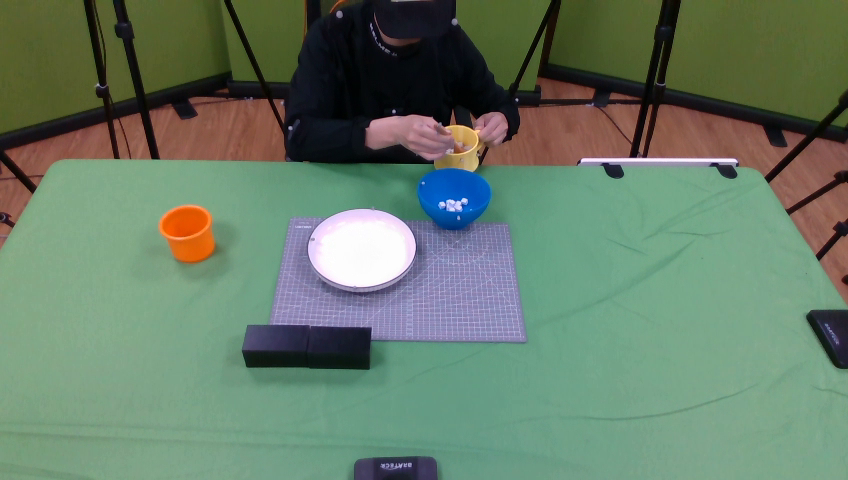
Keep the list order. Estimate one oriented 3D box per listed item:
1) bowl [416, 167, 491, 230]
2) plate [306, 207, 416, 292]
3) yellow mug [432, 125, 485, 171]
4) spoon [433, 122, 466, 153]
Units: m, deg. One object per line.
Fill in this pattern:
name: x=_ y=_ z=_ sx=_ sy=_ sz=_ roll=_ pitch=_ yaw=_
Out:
bowl: x=0.057 y=-0.074 z=1.232 sx=0.151 sy=0.077 sz=0.150 roll=2 pitch=42 yaw=-2
plate: x=-0.119 y=0.021 z=1.153 sx=0.209 sy=0.038 sz=0.208 roll=2 pitch=46 yaw=-2
yellow mug: x=0.081 y=-0.202 z=1.321 sx=0.131 sy=0.064 sz=0.099 roll=-30 pitch=53 yaw=-21
spoon: x=0.056 y=-0.205 z=1.250 sx=0.041 sy=0.195 sz=0.021 roll=2 pitch=76 yaw=25
